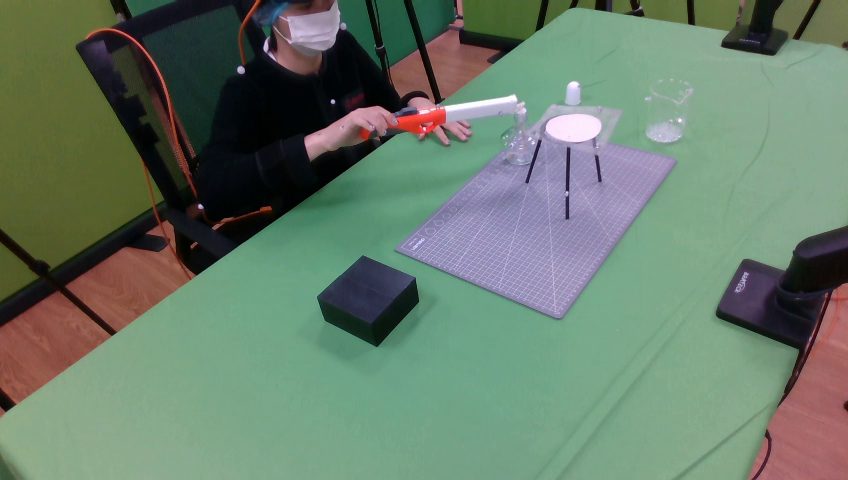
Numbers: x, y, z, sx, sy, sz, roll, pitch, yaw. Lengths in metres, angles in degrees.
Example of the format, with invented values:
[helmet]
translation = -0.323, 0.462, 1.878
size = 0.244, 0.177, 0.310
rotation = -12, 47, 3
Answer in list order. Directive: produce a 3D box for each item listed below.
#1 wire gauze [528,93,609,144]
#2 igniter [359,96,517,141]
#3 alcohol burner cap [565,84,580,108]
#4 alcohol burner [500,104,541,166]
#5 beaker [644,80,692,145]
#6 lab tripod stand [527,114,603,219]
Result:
[wire gauze]
translation = 0.225, -0.188, 0.943
size = 0.121, 0.011, 0.124
rotation = 6, 48, 9
[igniter]
translation = 0.024, -0.209, 1.037
size = 0.277, 0.057, 0.025
rotation = -11, 53, -8
[alcohol burner cap]
translation = 0.315, -0.307, 1.278
size = 0.034, 0.048, 0.033
rotation = -4, 42, 4
[alcohol burner]
translation = 0.178, -0.196, 1.106
size = 0.078, 0.119, 0.077
rotation = -5, 42, 5
[beaker]
translation = 0.451, -0.233, 1.122
size = 0.074, 0.101, 0.083
rotation = -8, 40, 1
[lab tripod stand]
translation = 0.234, -0.129, 1.002
size = 0.148, 0.132, 0.147
rotation = -6, 40, 6
